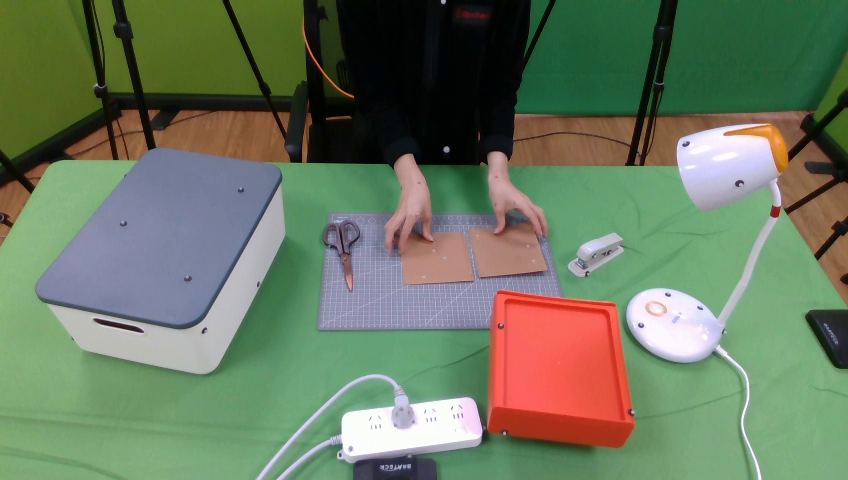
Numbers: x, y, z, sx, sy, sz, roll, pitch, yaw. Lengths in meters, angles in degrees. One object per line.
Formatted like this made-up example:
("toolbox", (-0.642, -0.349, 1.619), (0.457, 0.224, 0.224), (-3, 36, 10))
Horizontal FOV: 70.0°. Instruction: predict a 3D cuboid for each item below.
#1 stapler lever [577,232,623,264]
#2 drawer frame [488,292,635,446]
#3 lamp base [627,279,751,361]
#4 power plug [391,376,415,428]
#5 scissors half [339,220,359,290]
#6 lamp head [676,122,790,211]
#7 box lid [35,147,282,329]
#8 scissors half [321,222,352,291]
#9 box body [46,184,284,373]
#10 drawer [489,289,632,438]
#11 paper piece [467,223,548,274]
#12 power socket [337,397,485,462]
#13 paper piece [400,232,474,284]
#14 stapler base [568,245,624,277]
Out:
("stapler lever", (0.344, 0.010, 1.178), (0.118, 0.040, 0.026), (-26, 56, -28))
("drawer frame", (0.204, 0.191, 0.931), (0.202, 0.083, 0.212), (7, 45, 2))
("lamp base", (0.460, 0.100, 1.027), (0.178, 0.181, 0.160), (27, 51, 17))
("power plug", (-0.031, 0.249, 0.917), (0.035, 0.053, 0.072), (3, 46, -1))
("scissors half", (-0.144, 0.027, 1.162), (0.040, 0.013, 0.174), (-6, 50, 0))
("lamp head", (0.423, -0.104, 0.819), (0.122, 0.113, 0.112), (-13, 33, 40))
("box lid", (-0.411, -0.023, 0.987), (0.263, 0.015, 0.369), (10, 47, 5))
("scissors half", (-0.164, 0.030, 1.159), (0.040, 0.013, 0.174), (-15, 51, -15))
("box body", (-0.415, 0.029, 1.040), (0.254, 0.161, 0.362), (10, 46, 5))
("drawer", (0.203, 0.185, 0.934), (0.194, 0.073, 0.210), (7, 47, 1))
("paper piece", (0.162, 0.016, 1.196), (0.136, 0.009, 0.137), (-2, 42, -7))
("power socket", (-0.018, 0.285, 0.915), (0.227, 0.033, 0.071), (-4, 46, -8))
("paper piece", (0.023, 0.031, 1.175), (0.135, 0.004, 0.135), (0, 46, -6))
("stapler base", (0.341, 0.029, 1.196), (0.130, 0.024, 0.041), (-26, 56, -28))
